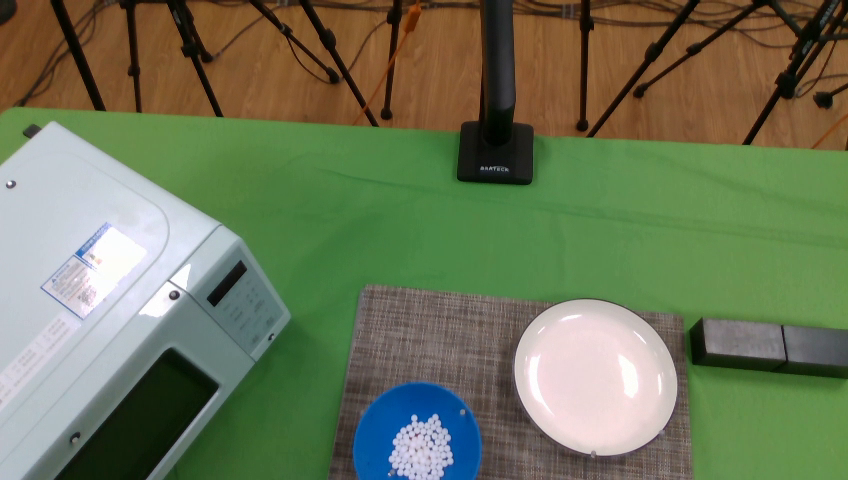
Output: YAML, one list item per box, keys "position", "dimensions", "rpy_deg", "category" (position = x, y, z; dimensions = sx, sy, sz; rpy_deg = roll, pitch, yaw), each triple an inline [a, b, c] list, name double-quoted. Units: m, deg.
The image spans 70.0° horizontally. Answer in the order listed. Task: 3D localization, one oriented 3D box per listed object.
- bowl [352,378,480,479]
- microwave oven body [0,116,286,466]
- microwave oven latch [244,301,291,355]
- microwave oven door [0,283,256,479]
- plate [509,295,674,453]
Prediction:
- position: [-0.007, 0.252, 0.736]
  dimensions: [0.151, 0.077, 0.150]
  rpy_deg: [-1, 63, 2]
  category: "bowl"
- position: [-0.439, 0.134, 0.710]
  dimensions: [0.324, 0.262, 0.440]
  rpy_deg: [29, 68, 16]
  category: "microwave oven body"
- position: [-0.214, 0.115, 0.821]
  dimensions: [0.030, 0.030, 0.079]
  rpy_deg: [31, 69, 16]
  category: "microwave oven latch"
- position: [-0.340, 0.231, 0.650]
  dimensions: [0.039, 0.246, 0.354]
  rpy_deg: [29, 67, 17]
  category: "microwave oven door"
- position: [0.214, 0.173, 0.791]
  dimensions: [0.207, 0.039, 0.206]
  rpy_deg: [-1, 63, 2]
  category: "plate"
